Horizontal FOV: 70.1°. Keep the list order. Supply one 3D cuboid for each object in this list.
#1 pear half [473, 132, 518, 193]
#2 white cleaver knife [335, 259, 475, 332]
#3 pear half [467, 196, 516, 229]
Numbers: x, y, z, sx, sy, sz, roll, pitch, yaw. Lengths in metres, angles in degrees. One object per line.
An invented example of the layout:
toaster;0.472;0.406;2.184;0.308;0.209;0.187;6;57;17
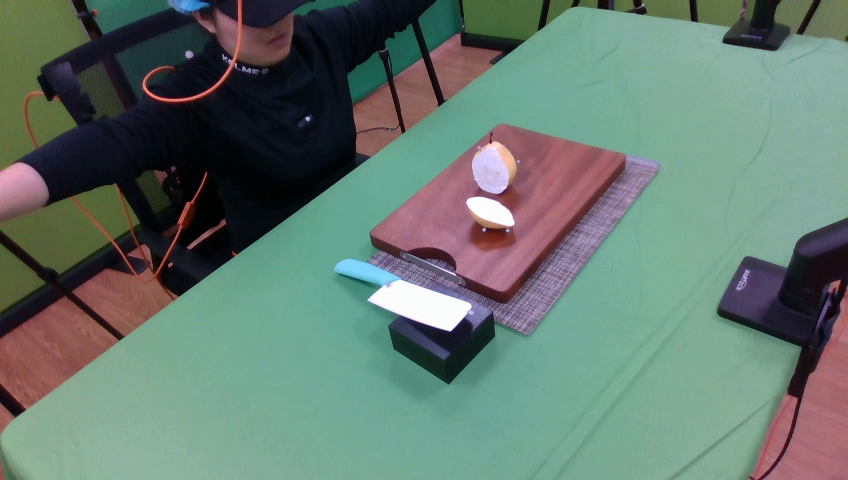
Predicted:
pear half;0.123;-0.139;1.015;0.076;0.110;0.056;18;47;23
white cleaver knife;-0.045;0.072;0.859;0.066;0.021;0.284;-36;33;-31
pear half;0.106;-0.037;0.956;0.071;0.031;0.087;-22;53;-37
